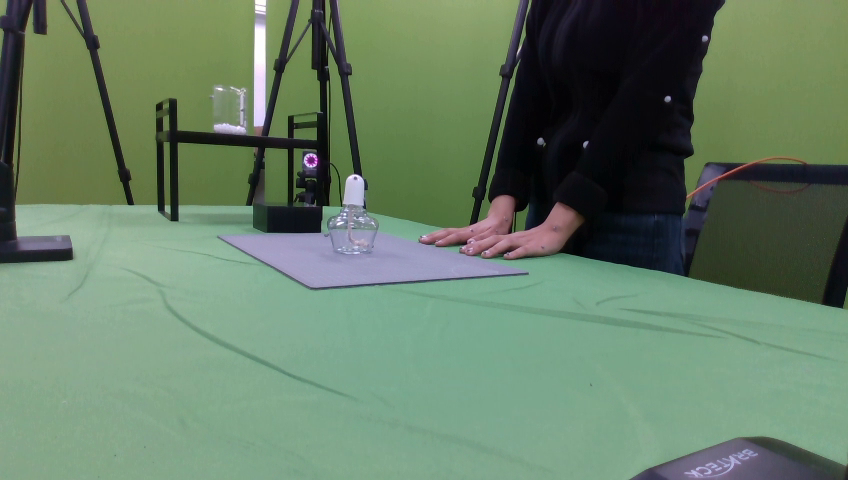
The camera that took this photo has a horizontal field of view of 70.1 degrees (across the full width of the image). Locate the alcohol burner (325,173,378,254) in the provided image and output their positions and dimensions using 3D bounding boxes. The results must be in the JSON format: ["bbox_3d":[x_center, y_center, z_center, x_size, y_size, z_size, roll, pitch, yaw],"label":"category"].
[{"bbox_3d":[-0.107,-0.040,0.896,0.078,0.119,0.078,2,5,0],"label":"alcohol burner"}]

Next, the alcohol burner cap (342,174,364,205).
[{"bbox_3d":[-0.104,-0.074,0.892,0.034,0.048,0.034,4,3,0],"label":"alcohol burner cap"}]

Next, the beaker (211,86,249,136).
[{"bbox_3d":[-0.413,-0.274,1.297,0.074,0.100,0.083,-5,11,-44],"label":"beaker"}]
